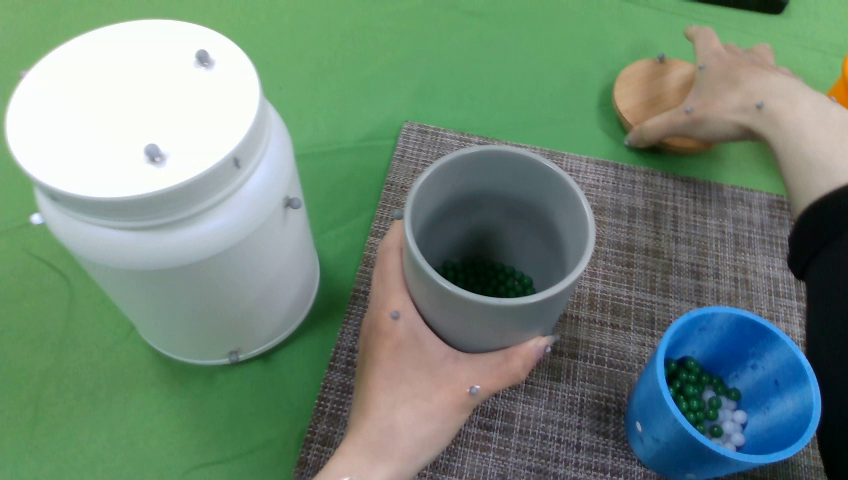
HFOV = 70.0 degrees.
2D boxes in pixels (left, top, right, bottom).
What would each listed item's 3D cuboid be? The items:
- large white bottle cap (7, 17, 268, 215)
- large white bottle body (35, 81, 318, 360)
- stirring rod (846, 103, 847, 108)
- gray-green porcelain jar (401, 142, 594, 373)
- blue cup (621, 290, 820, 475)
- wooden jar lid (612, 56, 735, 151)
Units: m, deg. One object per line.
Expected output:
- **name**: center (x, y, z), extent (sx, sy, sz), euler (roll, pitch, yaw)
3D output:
- **large white bottle cap**: center (-0.134, -0.063, 0.289), extent (0.115, 0.018, 0.114), euler (2, 59, -2)
- **large white bottle body**: center (-0.138, -0.019, 0.362), extent (0.131, 0.186, 0.129), euler (2, 59, -2)
- **stirring rod**: center (0.369, -0.103, 0.473), extent (0.014, 0.006, 0.176), euler (19, 17, 12)
- **gray-green porcelain jar**: center (0.038, 0.019, 0.381), extent (0.106, 0.127, 0.105), euler (1, 59, -2)
- **blue cup**: center (0.160, 0.096, 0.356), extent (0.093, 0.101, 0.092), euler (1, 58, -1)
- **wooden jar lid**: center (0.220, -0.121, 0.543), extent (0.108, 0.021, 0.107), euler (2, 58, -3)
